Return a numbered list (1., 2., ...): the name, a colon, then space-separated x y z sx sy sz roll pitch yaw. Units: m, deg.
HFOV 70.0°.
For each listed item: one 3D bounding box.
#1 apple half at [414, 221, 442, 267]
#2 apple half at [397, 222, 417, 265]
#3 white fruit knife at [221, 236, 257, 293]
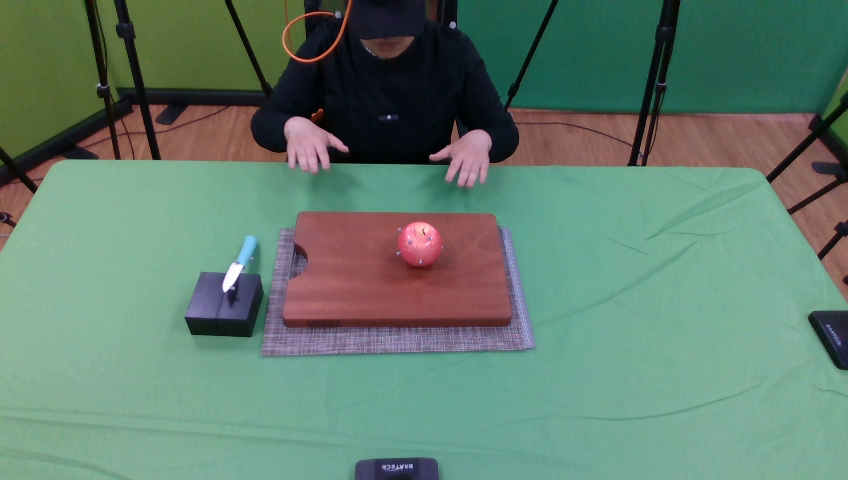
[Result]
1. apple half: 0.006 0.009 1.115 0.053 0.075 0.080 0 42 -10
2. apple half: -0.033 0.010 1.110 0.033 0.081 0.081 -1 46 -10
3. white fruit knife: -0.333 0.043 1.094 0.027 0.016 0.206 2 27 -3
